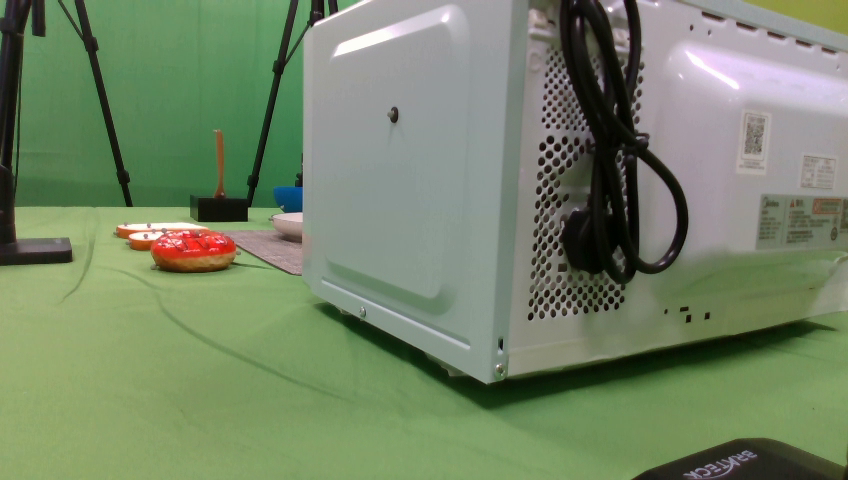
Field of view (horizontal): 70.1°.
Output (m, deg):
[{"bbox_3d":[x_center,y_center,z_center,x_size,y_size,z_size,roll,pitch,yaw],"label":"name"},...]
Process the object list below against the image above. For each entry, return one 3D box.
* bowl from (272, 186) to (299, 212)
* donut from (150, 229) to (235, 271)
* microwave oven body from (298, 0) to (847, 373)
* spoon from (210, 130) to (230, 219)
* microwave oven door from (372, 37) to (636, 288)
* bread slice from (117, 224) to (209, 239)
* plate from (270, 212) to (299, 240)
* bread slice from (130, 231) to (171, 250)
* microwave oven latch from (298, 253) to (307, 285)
[{"bbox_3d":[-0.254,-0.075,1.318,0.151,0.077,0.151,2,7,0],"label":"bowl"},{"bbox_3d":[-0.285,0.013,0.747,0.099,0.048,0.099,3,10,0],"label":"donut"},{"bbox_3d":[0.151,-0.055,0.542,0.444,0.260,0.324,-1,7,-33],"label":"microwave oven body"},{"bbox_3d":[-0.436,-0.138,1.296,0.042,0.193,0.021,-3,23,-28],"label":"spoon"},{"bbox_3d":[0.110,-0.080,0.686,0.358,0.243,0.039,-2,9,-33],"label":"microwave oven door"},{"bbox_3d":[-0.443,-0.015,1.023,0.132,0.019,0.104,-4,9,-45],"label":"bread slice"},{"bbox_3d":[-0.162,-0.022,1.058,0.208,0.039,0.207,2,7,0],"label":"plate"},{"bbox_3d":[-0.370,0.001,0.916,0.135,0.018,0.106,-1,7,-32],"label":"bread slice"},{"bbox_3d":[-0.082,0.027,0.582,0.079,0.029,0.030,-2,7,-33],"label":"microwave oven latch"}]
